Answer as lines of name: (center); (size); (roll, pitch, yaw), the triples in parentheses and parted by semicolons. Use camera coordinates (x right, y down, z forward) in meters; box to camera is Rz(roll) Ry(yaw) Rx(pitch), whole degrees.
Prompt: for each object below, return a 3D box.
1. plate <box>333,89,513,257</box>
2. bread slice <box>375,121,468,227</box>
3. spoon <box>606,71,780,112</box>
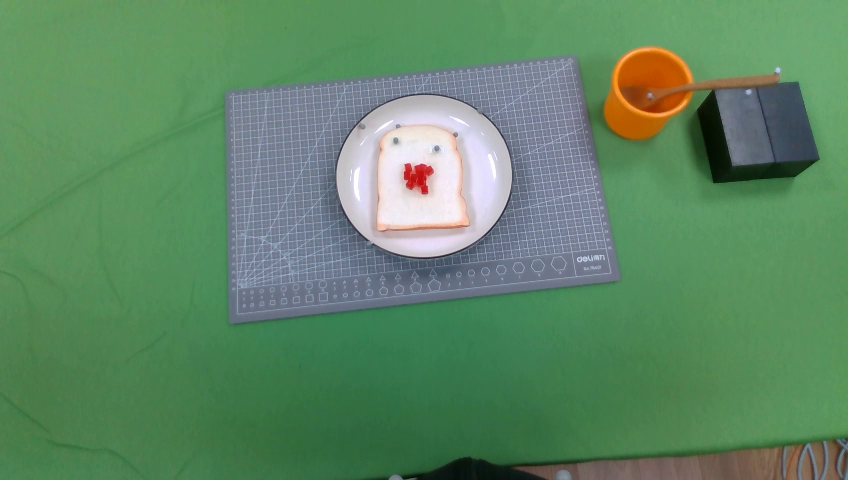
plate: (0.000, -0.077, 0.715); (0.209, 0.038, 0.208); (0, 74, 1)
bread slice: (-0.009, -0.078, 0.716); (0.107, 0.018, 0.133); (-6, 74, -2)
spoon: (0.293, -0.171, 0.682); (0.022, 0.192, 0.041); (35, 71, -35)
